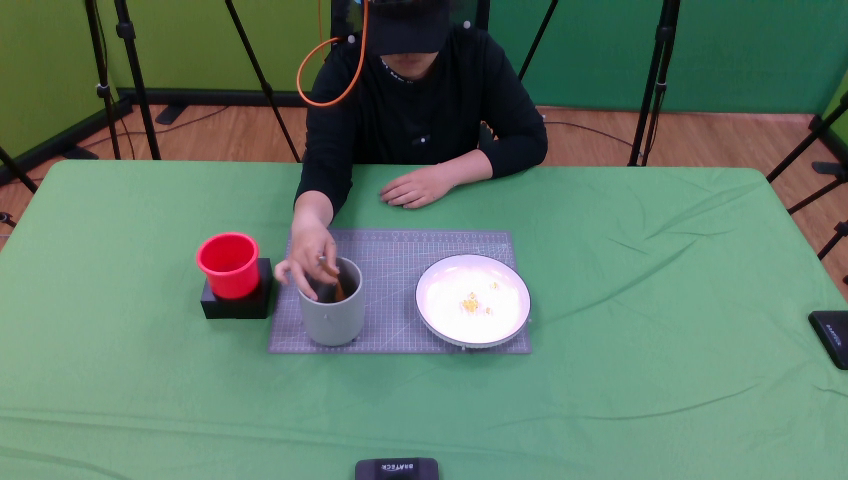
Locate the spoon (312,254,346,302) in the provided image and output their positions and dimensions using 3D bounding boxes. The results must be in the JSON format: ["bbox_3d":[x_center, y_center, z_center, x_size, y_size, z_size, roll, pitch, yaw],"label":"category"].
[{"bbox_3d":[-0.147,0.069,0.983,0.041,0.195,0.021,31,67,26],"label":"spoon"}]

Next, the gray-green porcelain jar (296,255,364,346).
[{"bbox_3d":[-0.153,0.106,1.008,0.106,0.127,0.105,2,46,-2],"label":"gray-green porcelain jar"}]

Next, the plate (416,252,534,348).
[{"bbox_3d":[0.090,0.109,1.084,0.208,0.039,0.206,2,46,-2],"label":"plate"}]
